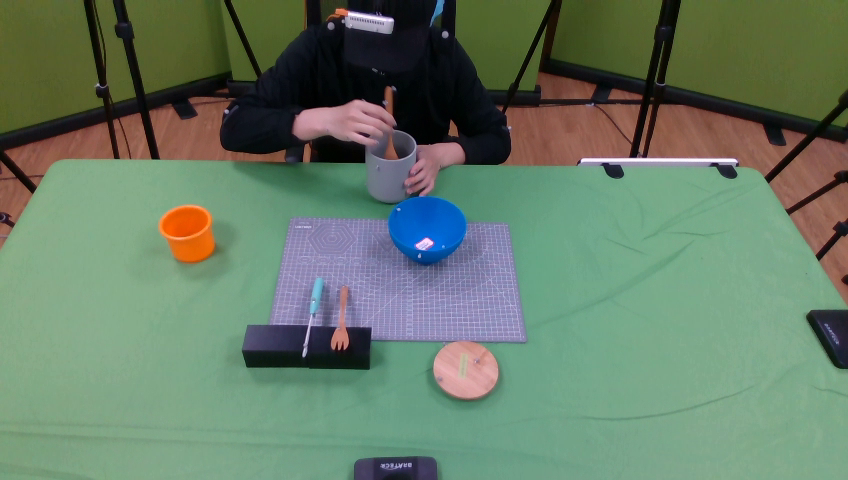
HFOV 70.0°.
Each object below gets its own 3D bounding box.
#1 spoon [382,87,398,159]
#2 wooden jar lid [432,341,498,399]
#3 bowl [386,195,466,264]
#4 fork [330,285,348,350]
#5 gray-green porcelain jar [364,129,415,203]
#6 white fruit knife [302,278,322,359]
[{"bbox_3d":[-0.068,-0.208,1.190,0.041,0.194,0.021,0,34,-1],"label":"spoon"},{"bbox_3d":[0.067,0.216,0.997,0.108,0.021,0.107,1,46,-1],"label":"wooden jar lid"},{"bbox_3d":[0.003,-0.007,1.162,0.151,0.077,0.150,2,46,-2],"label":"bowl"},{"bbox_3d":[-0.140,0.127,1.021,0.028,0.019,0.206,-5,28,-2],"label":"fork"},{"bbox_3d":[-0.073,-0.149,1.264,0.106,0.127,0.105,2,46,-2],"label":"gray-green porcelain jar"},{"bbox_3d":[-0.189,0.126,1.020,0.016,0.027,0.206,0,33,-3],"label":"white fruit knife"}]
